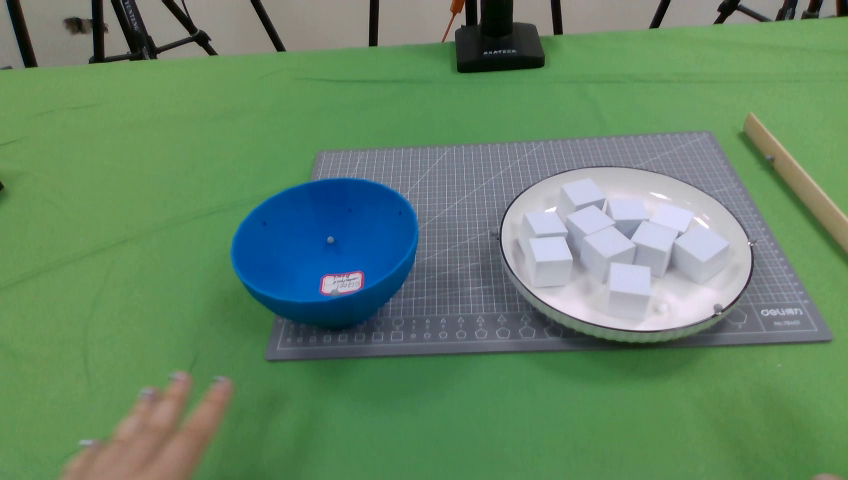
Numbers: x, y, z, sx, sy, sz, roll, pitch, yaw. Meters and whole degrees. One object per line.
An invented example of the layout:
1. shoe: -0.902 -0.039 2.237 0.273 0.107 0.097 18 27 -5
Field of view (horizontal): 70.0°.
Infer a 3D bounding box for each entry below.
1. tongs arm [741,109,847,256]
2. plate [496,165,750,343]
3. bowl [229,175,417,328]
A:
1. tongs arm: 0.381 -0.009 0.539 0.028 0.028 0.383 -5 43 -4
2. plate: 0.166 0.010 0.527 0.207 0.039 0.205 -3 43 3
3. bowl: -0.077 0.020 0.510 0.151 0.077 0.150 -2 43 3
